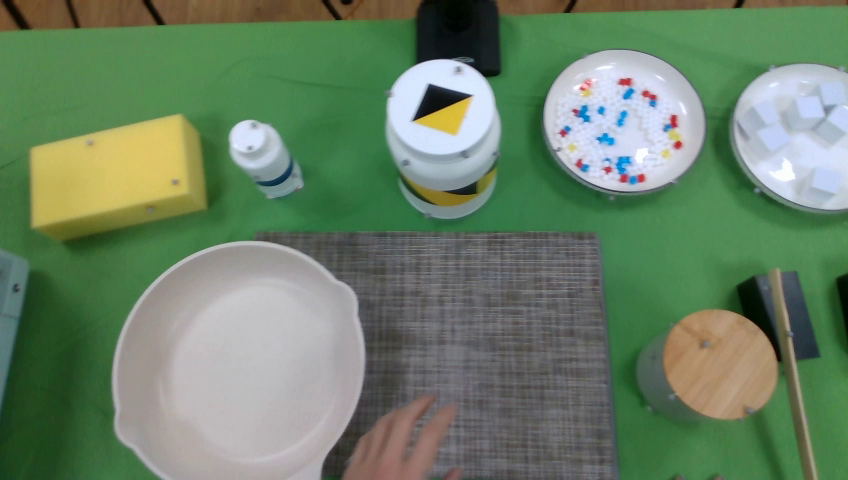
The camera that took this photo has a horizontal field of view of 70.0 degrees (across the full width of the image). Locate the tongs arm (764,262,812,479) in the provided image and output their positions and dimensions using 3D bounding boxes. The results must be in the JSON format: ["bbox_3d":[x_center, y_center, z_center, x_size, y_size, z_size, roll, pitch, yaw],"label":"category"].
[{"bbox_3d":[0.423,0.213,0.655,0.051,0.026,0.383,-5,84,0],"label":"tongs arm"}]

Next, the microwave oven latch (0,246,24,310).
[{"bbox_3d":[-0.534,0.048,0.768,0.030,0.029,0.078,3,75,4],"label":"microwave oven latch"}]

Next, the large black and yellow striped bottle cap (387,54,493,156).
[{"bbox_3d":[0.017,-0.145,0.648,0.115,0.019,0.114,-1,75,3],"label":"large black and yellow striped bottle cap"}]

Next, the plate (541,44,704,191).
[{"bbox_3d":[0.258,-0.160,0.802,0.209,0.038,0.208,-1,74,4],"label":"plate"}]

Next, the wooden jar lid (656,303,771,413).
[{"bbox_3d":[0.288,0.118,0.608,0.108,0.021,0.108,-2,76,7],"label":"wooden jar lid"}]

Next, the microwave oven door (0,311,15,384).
[{"bbox_3d":[-0.548,0.229,0.611,0.039,0.245,0.353,0,73,4],"label":"microwave oven door"}]

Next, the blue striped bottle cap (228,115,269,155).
[{"bbox_3d":[-0.210,-0.125,0.723,0.044,0.021,0.044,0,73,1],"label":"blue striped bottle cap"}]

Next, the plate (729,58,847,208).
[{"bbox_3d":[0.497,-0.135,0.780,0.207,0.039,0.206,-1,73,4],"label":"plate"}]

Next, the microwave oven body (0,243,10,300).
[{"bbox_3d":[-0.692,0.189,0.636,0.326,0.261,0.439,0,74,3],"label":"microwave oven body"}]

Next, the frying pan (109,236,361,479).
[{"bbox_3d":[-0.164,0.223,0.678,0.307,0.103,0.483,-30,66,-5],"label":"frying pan"}]

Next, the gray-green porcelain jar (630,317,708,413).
[{"bbox_3d":[0.291,0.136,0.668,0.106,0.127,0.105,-1,73,3],"label":"gray-green porcelain jar"}]

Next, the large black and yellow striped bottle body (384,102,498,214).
[{"bbox_3d":[0.022,-0.120,0.729,0.131,0.185,0.130,-1,73,3],"label":"large black and yellow striped bottle body"}]

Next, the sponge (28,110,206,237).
[{"bbox_3d":[-0.408,-0.088,0.808,0.207,0.061,0.117,-13,74,-1],"label":"sponge"}]

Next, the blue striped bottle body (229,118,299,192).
[{"bbox_3d":[-0.205,-0.111,0.772,0.063,0.121,0.062,-1,73,4],"label":"blue striped bottle body"}]
